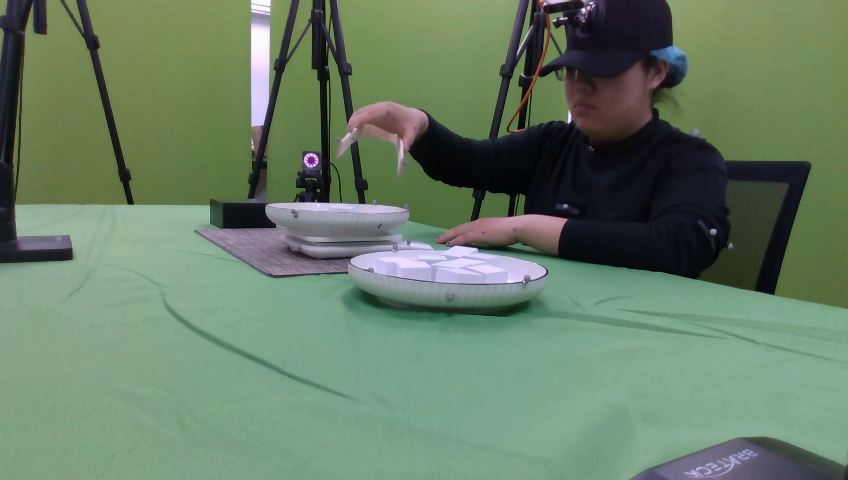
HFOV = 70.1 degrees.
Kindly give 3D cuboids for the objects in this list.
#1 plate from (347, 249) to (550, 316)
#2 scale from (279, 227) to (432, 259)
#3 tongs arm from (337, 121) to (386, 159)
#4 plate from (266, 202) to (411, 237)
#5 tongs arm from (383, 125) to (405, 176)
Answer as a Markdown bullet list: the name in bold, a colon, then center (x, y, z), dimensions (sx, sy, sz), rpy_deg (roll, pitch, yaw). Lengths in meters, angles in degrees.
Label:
- **plate**: center (0.025, 0.042, 0.627), dimensions (0.209, 0.038, 0.209), rpy_deg (2, 7, 0)
- **scale**: center (-0.100, 0.001, 0.899), dimensions (0.202, 0.031, 0.148), rpy_deg (-1, 9, -31)
- **tongs arm**: center (-0.089, -0.156, 0.929), dimensions (0.051, 0.026, 0.384), rpy_deg (13, 14, -6)
- **plate**: center (-0.123, -0.030, 0.879), dimensions (0.208, 0.039, 0.207), rpy_deg (2, 6, 0)
- **tongs arm**: center (-0.045, -0.144, 0.933), dimensions (0.028, 0.028, 0.387), rpy_deg (9, 15, -7)
